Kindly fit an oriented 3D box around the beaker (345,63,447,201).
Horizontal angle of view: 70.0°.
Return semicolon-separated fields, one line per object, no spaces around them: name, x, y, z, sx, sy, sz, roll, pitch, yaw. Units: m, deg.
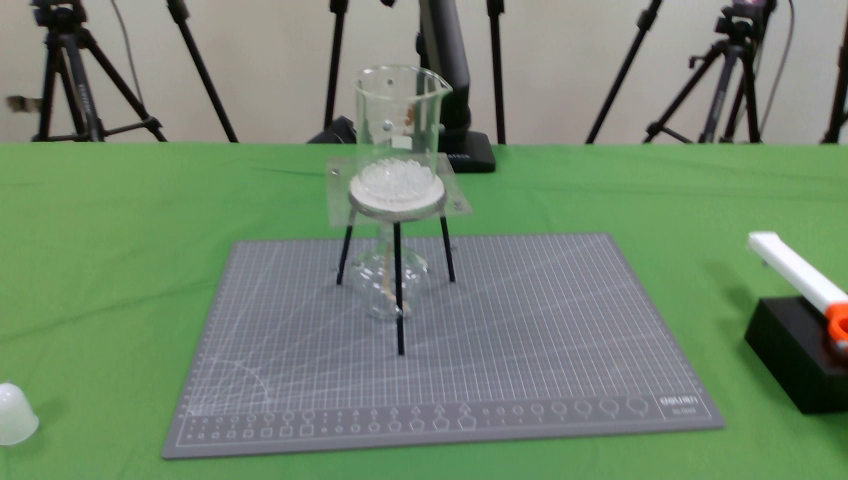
beaker;-0.024;-0.091;0.522;0.084;0.101;0.073;-3;37;-8

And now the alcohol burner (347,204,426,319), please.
alcohol burner;-0.036;0.017;0.584;0.078;0.120;0.077;3;33;-2

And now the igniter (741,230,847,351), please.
igniter;0.367;0.065;0.530;0.057;0.025;0.274;-2;31;-6

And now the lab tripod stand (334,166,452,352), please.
lab tripod stand;-0.026;0.010;0.577;0.148;0.132;0.147;3;35;-2

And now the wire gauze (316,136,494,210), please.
wire gauze;-0.020;-0.060;0.535;0.125;0.011;0.120;-12;35;-28

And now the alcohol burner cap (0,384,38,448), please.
alcohol burner cap;-0.323;0.132;0.466;0.034;0.048;0.033;3;32;-2
